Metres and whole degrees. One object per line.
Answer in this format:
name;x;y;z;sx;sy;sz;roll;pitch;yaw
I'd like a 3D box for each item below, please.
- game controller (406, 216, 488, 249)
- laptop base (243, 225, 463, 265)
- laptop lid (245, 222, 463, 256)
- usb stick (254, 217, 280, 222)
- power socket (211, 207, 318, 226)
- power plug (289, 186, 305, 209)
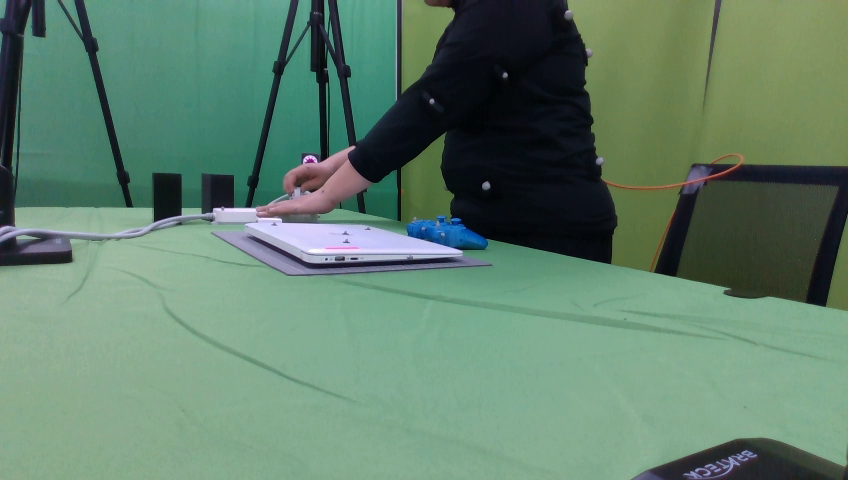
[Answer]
game controller;0.035;-0.014;1.067;0.097;0.051;0.154;-7;11;-29
laptop base;-0.129;0.007;0.951;0.237;0.023;0.352;2;6;-30
laptop lid;-0.126;-0.005;0.951;0.243;0.013;0.355;1;7;-28
usb stick;-0.296;-0.028;1.114;0.059;0.027;0.021;-4;12;-30
power socket;-0.335;-0.051;1.282;0.228;0.032;0.072;-1;10;-29
power plug;-0.278;-0.093;1.345;0.035;0.052;0.072;-2;3;0
